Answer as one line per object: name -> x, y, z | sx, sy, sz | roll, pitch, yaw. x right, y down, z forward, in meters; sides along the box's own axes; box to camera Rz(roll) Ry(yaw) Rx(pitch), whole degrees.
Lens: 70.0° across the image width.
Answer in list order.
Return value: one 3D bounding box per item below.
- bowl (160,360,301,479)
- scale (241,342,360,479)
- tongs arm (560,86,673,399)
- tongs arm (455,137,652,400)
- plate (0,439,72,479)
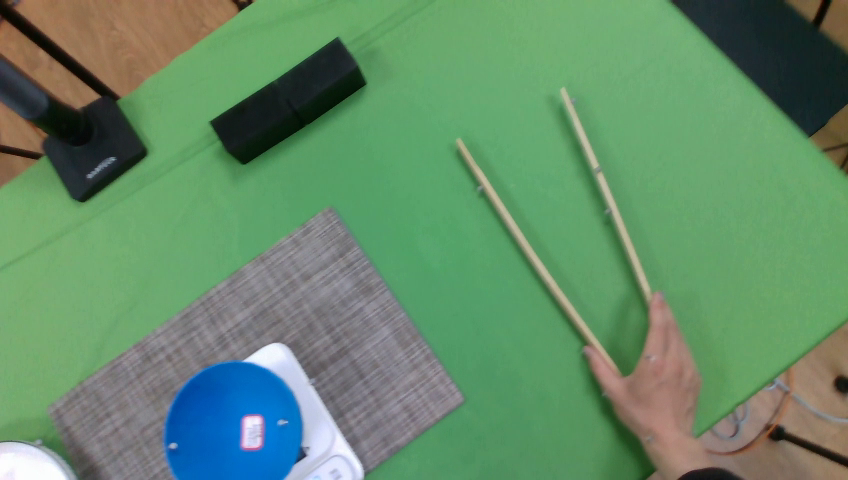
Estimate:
bowl -> -0.201, 0.210, 0.670 | 0.151, 0.077, 0.150 | -1, 77, 6
scale -> -0.183, 0.238, 0.717 | 0.148, 0.032, 0.200 | -35, 76, -1
tongs arm -> 0.215, -0.005, 0.722 | 0.051, 0.026, 0.382 | -21, 77, 4
tongs arm -> 0.144, 0.028, 0.728 | 0.028, 0.028, 0.385 | -32, 76, -3
plate -> -0.510, 0.348, 0.735 | 0.207, 0.039, 0.206 | -1, 78, 7
